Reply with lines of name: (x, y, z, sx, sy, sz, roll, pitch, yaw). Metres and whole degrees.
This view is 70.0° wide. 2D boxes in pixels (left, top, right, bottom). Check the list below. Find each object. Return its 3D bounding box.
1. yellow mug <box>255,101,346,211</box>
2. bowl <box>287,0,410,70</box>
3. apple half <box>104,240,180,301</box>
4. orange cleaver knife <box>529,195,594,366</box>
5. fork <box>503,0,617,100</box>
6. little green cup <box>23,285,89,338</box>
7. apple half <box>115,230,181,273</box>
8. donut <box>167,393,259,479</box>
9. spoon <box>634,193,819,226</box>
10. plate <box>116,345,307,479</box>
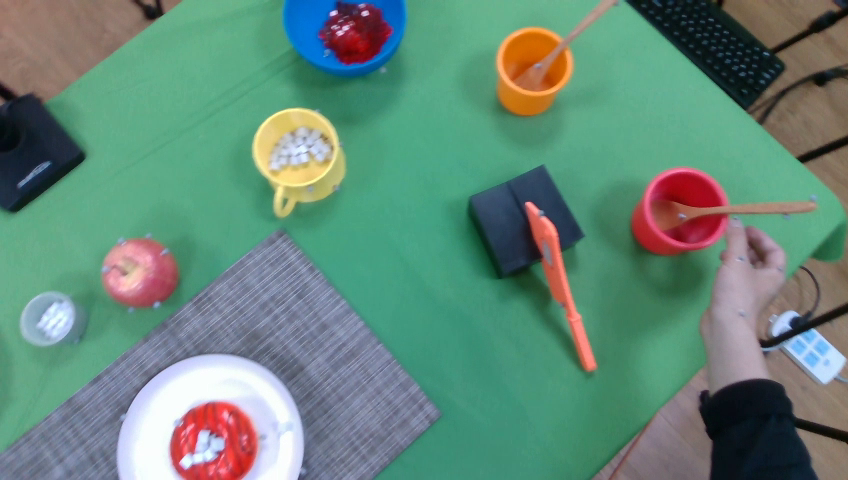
yellow mug: (-0.154, -0.096, 0.741, 0.100, 0.064, 0.130, 17, 79, 3)
bowl: (-0.091, -0.276, 0.773, 0.151, 0.077, 0.150, 0, 79, 0)
apple half: (-0.334, 0.043, 0.707, 0.081, 0.075, 0.053, 29, 83, 2)
orange cleaver knife: (0.158, 0.048, 0.701, 0.012, 0.076, 0.213, -21, 111, -3)
fork: (0.175, -0.243, 0.731, 0.207, 0.019, 0.028, -40, 76, 36)
little green cup: (-0.431, 0.086, 0.714, 0.061, 0.039, 0.061, 0, 78, 0)
apple half: (-0.315, 0.009, 0.712, 0.081, 0.081, 0.032, 28, 83, 6)
donut: (-0.233, 0.219, 0.672, 0.099, 0.048, 0.098, 0, 80, 0)
spoon: (0.337, -0.038, 0.693, 0.192, 0.022, 0.041, -1, 75, 45)
plate: (-0.235, 0.223, 0.682, 0.209, 0.038, 0.208, 0, 78, 0)
